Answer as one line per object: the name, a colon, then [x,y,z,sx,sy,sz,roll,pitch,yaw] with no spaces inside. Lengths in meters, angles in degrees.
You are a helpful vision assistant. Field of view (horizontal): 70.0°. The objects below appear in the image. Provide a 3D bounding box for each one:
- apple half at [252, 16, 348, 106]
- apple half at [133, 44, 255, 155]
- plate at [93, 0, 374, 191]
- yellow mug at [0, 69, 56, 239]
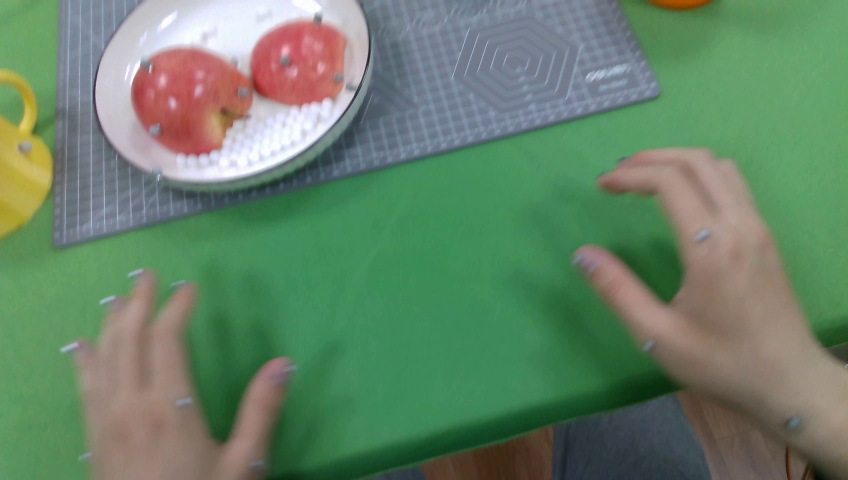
apple half: [-0.095,-0.139,0.447,0.081,0.033,0.080,-2,70,5]
apple half: [-0.170,-0.108,0.433,0.074,0.054,0.080,29,74,20]
plate: [-0.138,-0.125,0.454,0.209,0.038,0.207,-2,68,5]
yellow mug: [-0.328,-0.068,0.440,0.099,0.064,0.130,18,70,14]
